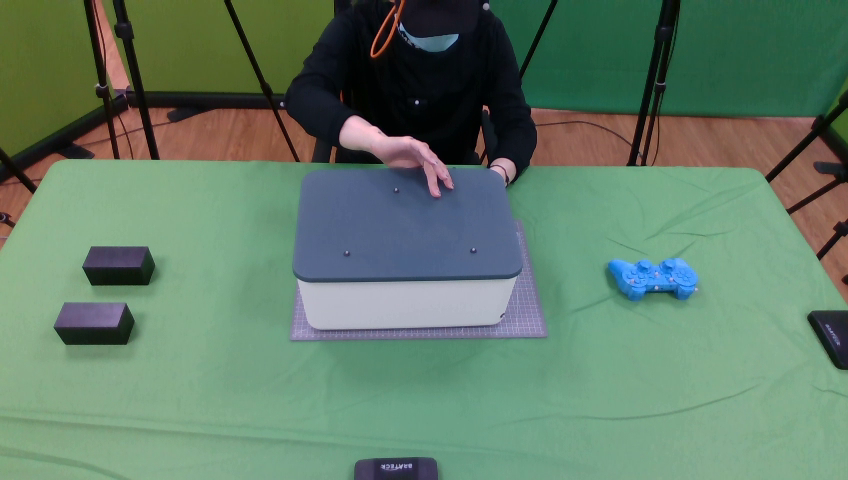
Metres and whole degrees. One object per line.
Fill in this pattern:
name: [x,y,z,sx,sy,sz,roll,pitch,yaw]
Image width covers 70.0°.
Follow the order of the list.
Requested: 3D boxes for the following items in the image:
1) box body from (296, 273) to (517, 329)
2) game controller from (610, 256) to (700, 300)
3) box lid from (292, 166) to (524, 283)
box body: [-0.032,0.016,1.074,0.364,0.161,0.252,-1,47,-5]
game controller: [0.441,0.063,1.144,0.155,0.052,0.096,-1,50,-4]
box lid: [-0.027,-0.034,1.020,0.372,0.015,0.261,-1,47,-4]
